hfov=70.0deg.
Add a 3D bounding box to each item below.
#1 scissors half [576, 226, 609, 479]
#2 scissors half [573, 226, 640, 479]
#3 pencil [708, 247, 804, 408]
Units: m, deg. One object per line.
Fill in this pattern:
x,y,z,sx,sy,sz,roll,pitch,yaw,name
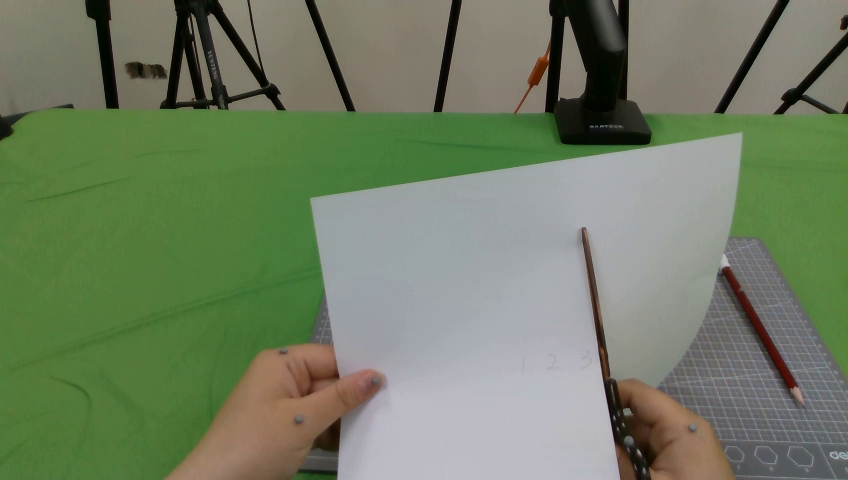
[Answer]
0.102,0.077,0.360,0.013,0.176,0.040,-10,11,-1,scissors half
0.101,0.077,0.339,0.013,0.040,0.174,-10,80,4,scissors half
0.294,0.070,0.544,0.012,0.012,0.192,-1,39,1,pencil
